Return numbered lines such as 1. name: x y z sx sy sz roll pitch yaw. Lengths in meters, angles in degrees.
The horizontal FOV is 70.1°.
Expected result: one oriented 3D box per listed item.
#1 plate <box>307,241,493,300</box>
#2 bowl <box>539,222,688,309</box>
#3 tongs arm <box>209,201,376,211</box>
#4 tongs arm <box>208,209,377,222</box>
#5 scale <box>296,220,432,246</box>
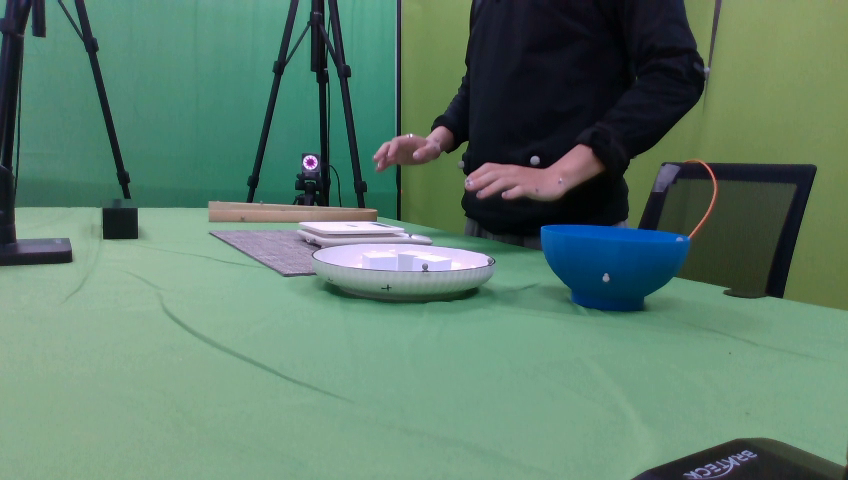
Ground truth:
1. plate: -0.027 0.034 0.684 0.208 0.039 0.207 2 7 0
2. bowl: 0.196 0.027 0.641 0.151 0.077 0.151 3 7 0
3. tongs arm: -0.306 -0.070 1.430 0.386 0.026 0.050 1 8 -15
4. tongs arm: -0.280 -0.055 1.355 0.389 0.028 0.028 -1 6 -28
5. scale: -0.101 -0.012 1.017 0.202 0.031 0.148 -1 8 -30
